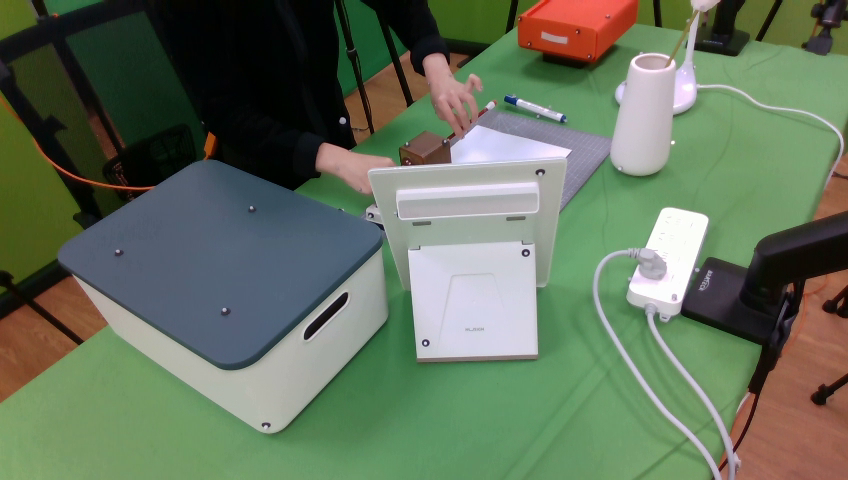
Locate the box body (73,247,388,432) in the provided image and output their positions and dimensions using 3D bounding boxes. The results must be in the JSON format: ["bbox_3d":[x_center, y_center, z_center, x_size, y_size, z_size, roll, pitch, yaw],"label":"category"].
[{"bbox_3d":[-0.256,0.065,0.827,0.361,0.161,0.255,21,48,29],"label":"box body"}]

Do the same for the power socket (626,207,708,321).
[{"bbox_3d":[0.359,0.025,0.886,0.072,0.033,0.227,16,46,26],"label":"power socket"}]

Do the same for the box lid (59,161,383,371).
[{"bbox_3d":[-0.262,0.010,0.777,0.369,0.015,0.264,21,48,29],"label":"box lid"}]

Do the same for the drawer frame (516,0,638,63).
[{"bbox_3d":[0.355,-0.508,1.410,0.200,0.083,0.214,23,51,32],"label":"drawer frame"}]

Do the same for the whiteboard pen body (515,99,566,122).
[{"bbox_3d":[0.234,-0.274,1.262,0.139,0.017,0.017,28,51,29],"label":"whiteboard pen body"}]

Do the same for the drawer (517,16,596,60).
[{"bbox_3d":[0.353,-0.506,1.405,0.193,0.073,0.212,23,49,32],"label":"drawer"}]

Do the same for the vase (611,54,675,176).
[{"bbox_3d":[0.377,-0.209,1.031,0.098,0.201,0.097,-3,40,3],"label":"vase"}]

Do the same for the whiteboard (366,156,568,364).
[{"bbox_3d":[0.059,0.050,0.738,0.217,0.307,0.143,-2,60,6],"label":"whiteboard"}]

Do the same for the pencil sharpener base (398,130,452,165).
[{"bbox_3d":[0.004,-0.123,1.049,0.061,0.107,0.077,28,52,34],"label":"pencil sharpener base"}]

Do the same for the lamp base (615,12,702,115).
[{"bbox_3d":[0.484,-0.364,1.211,0.180,0.181,0.159,-15,41,-14],"label":"lamp base"}]

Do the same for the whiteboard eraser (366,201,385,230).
[{"bbox_3d":[-0.038,-0.038,1.006,0.112,0.042,0.055,16,47,25],"label":"whiteboard eraser"}]

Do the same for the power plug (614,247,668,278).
[{"bbox_3d":[0.306,0.031,0.851,0.072,0.053,0.035,24,49,33],"label":"power plug"}]

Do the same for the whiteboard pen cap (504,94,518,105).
[{"bbox_3d":[0.190,-0.299,1.292,0.033,0.018,0.018,30,52,28],"label":"whiteboard pen cap"}]

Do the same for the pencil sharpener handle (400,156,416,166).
[{"bbox_3d":[-0.031,-0.105,1.014,0.035,0.068,0.031,23,49,39],"label":"pencil sharpener handle"}]

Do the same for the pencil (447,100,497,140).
[{"bbox_3d":[0.071,-0.203,1.086,0.012,0.012,0.194,27,55,33],"label":"pencil"}]

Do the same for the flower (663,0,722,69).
[{"bbox_3d":[0.379,-0.261,0.965,0.044,0.362,0.038,20,53,5],"label":"flower"}]
